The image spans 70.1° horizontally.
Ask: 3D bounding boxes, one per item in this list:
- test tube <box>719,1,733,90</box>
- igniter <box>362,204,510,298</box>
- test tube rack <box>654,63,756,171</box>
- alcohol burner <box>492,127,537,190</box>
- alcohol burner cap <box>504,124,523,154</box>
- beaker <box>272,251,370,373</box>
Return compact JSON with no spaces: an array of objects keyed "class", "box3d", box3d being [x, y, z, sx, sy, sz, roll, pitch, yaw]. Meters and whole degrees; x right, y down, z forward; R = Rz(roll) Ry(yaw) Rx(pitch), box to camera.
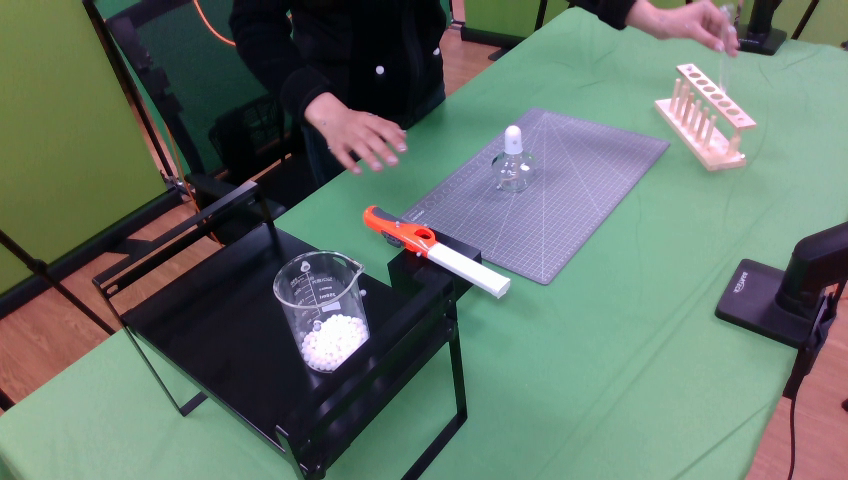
[{"class":"test tube","box3d":[0.498,-0.318,0.997,0.017,0.151,0.017,-11,37,9]},{"class":"igniter","box3d":[0.007,0.009,0.887,0.274,0.025,0.057,29,50,32]},{"class":"test tube rack","box3d":[0.511,-0.233,1.120,0.067,0.085,0.241,-8,41,-1]},{"class":"alcohol burner","box3d":[0.156,-0.146,1.046,0.078,0.119,0.077,-4,44,4]},{"class":"alcohol burner cap","box3d":[0.151,-0.172,1.022,0.034,0.048,0.033,-4,36,3]},{"class":"beaker","box3d":[-0.090,0.070,0.571,0.084,0.101,0.073,-18,42,-13]}]
